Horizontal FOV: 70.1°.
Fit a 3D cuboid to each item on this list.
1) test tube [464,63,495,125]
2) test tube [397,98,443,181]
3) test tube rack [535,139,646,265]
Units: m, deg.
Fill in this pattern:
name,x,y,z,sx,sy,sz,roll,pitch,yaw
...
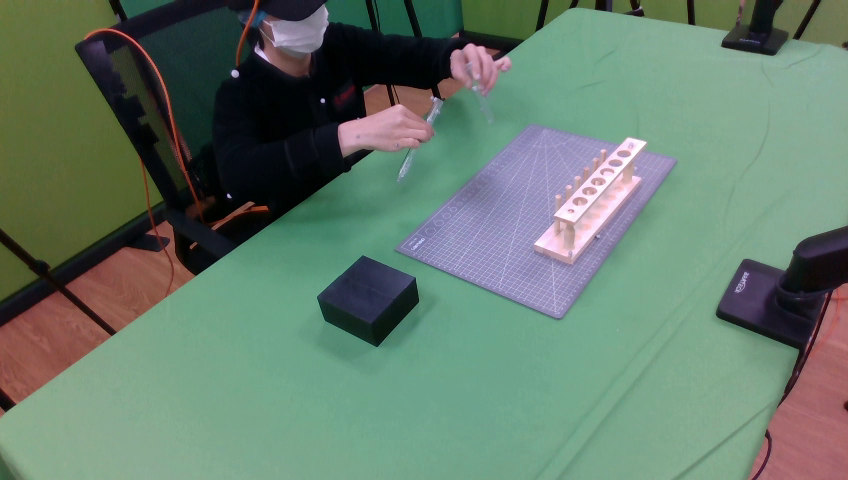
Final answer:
name,x,y,z,sx,sy,sz,roll,pitch,yaw
test tube,0.098,-0.247,1.039,0.017,0.151,0.017,-10,60,18
test tube,-0.008,-0.167,1.013,0.017,0.150,0.017,26,13,-6
test tube rack,0.269,-0.071,0.964,0.066,0.085,0.243,23,49,32
